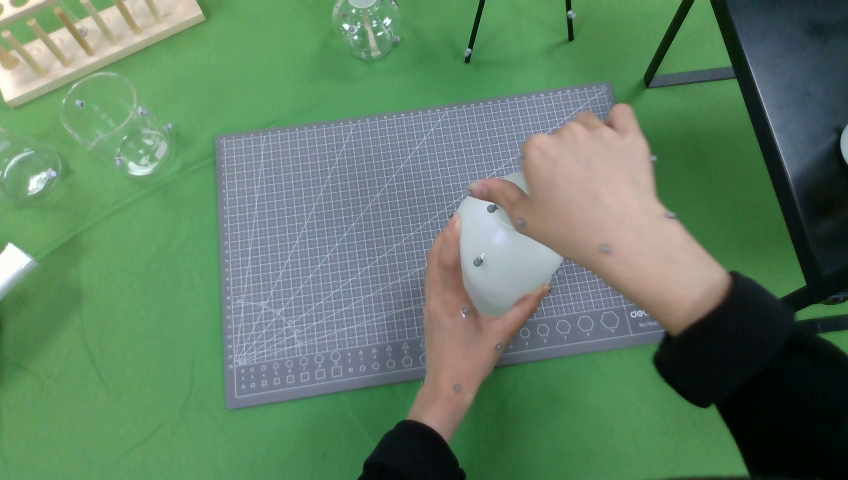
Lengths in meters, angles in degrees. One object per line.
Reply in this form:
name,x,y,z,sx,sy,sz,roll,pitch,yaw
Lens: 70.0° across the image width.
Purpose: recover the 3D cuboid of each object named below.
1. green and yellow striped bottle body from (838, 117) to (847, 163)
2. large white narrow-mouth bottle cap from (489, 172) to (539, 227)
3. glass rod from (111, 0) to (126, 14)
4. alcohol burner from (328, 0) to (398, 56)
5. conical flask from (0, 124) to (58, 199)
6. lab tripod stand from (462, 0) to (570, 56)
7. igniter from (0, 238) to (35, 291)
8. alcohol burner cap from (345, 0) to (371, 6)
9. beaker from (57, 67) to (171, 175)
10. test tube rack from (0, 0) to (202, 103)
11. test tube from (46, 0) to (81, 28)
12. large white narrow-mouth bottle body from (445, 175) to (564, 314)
green and yellow striped bottle body,0.347,-0.092,0.410,0.063,0.120,0.063,0,71,1
large white narrow-mouth bottle cap,0.066,-0.029,0.441,0.038,0.024,0.037,0,73,1
glass rod,-0.372,-0.312,0.632,0.008,0.201,0.008,-3,65,7
alcohol burner,-0.069,-0.260,0.667,0.078,0.120,0.077,0,69,0
conical flask,-0.439,-0.097,0.610,0.075,0.122,0.075,0,70,1
lab tripod stand,0.100,-0.283,0.661,0.148,0.132,0.147,0,70,0
igniter,-0.468,0.111,0.541,0.057,0.025,0.276,34,72,10
alcohol burner cap,-0.071,-0.273,0.633,0.034,0.048,0.033,0,70,0
beaker,-0.315,-0.115,0.628,0.074,0.101,0.083,6,71,4
test tube rack,-0.389,-0.254,0.683,0.242,0.086,0.066,-29,73,-9
test tube,-0.413,-0.279,0.639,0.017,0.151,0.017,-2,68,5
large white narrow-mouth bottle body,0.069,0.000,0.532,0.102,0.196,0.101,0,72,1
